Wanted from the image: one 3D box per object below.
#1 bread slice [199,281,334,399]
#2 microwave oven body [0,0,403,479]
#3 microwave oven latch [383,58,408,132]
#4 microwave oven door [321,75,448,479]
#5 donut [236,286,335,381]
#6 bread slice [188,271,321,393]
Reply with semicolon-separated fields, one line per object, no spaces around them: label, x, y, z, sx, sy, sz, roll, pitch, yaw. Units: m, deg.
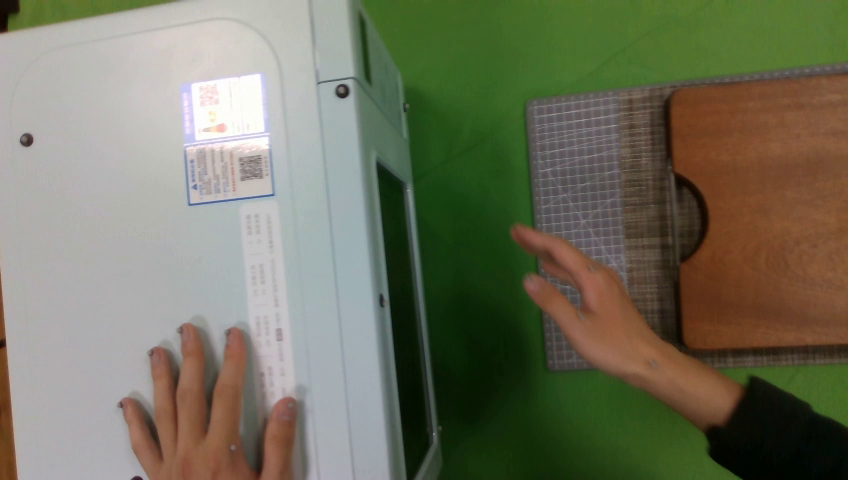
bread slice;-0.168;0.100;0.626;0.131;0.019;0.105;13;93;5
microwave oven body;-0.177;0.035;0.574;0.326;0.260;0.441;-7;89;7
microwave oven latch;-0.036;-0.156;0.654;0.030;0.029;0.079;-7;89;7
microwave oven door;-0.029;0.059;0.549;0.039;0.244;0.355;-7;88;8
donut;-0.137;0.092;0.600;0.099;0.048;0.099;-1;104;-3
bread slice;-0.158;0.091;0.557;0.134;0.018;0.107;-11;89;20
